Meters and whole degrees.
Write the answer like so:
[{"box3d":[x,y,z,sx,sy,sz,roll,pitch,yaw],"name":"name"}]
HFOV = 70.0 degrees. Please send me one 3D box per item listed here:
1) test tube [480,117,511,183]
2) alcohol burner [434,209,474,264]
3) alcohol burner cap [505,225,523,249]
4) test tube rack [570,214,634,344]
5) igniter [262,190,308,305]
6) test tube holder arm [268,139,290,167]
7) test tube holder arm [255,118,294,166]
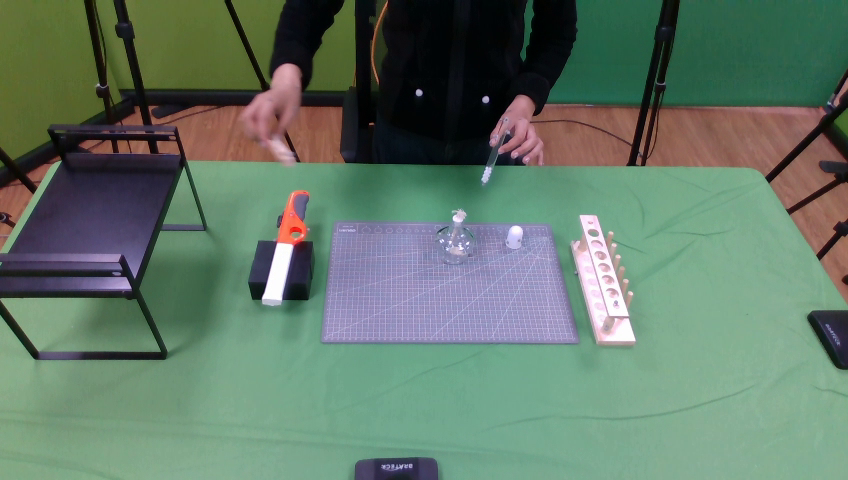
[{"box3d":[0.133,-0.166,1.140,0.017,0.151,0.017,9,44,-9],"name":"test tube"},{"box3d":[0.058,-0.011,1.147,0.078,0.119,0.077,3,44,-3],"name":"alcohol burner"},{"box3d":[0.180,-0.009,1.203,0.034,0.048,0.033,2,46,-2],"name":"alcohol burner cap"},{"box3d":[0.333,0.067,1.116,0.067,0.085,0.241,1,46,-3],"name":"test tube rack"},{"box3d":[-0.252,0.004,1.107,0.057,0.025,0.275,7,47,-6],"name":"igniter"},{"box3d":[-0.233,-0.141,0.971,0.010,0.015,0.087,-12,36,-26],"name":"test tube holder arm"},{"box3d":[-0.249,-0.165,1.006,0.013,0.015,0.177,-13,36,-26],"name":"test tube holder arm"}]
